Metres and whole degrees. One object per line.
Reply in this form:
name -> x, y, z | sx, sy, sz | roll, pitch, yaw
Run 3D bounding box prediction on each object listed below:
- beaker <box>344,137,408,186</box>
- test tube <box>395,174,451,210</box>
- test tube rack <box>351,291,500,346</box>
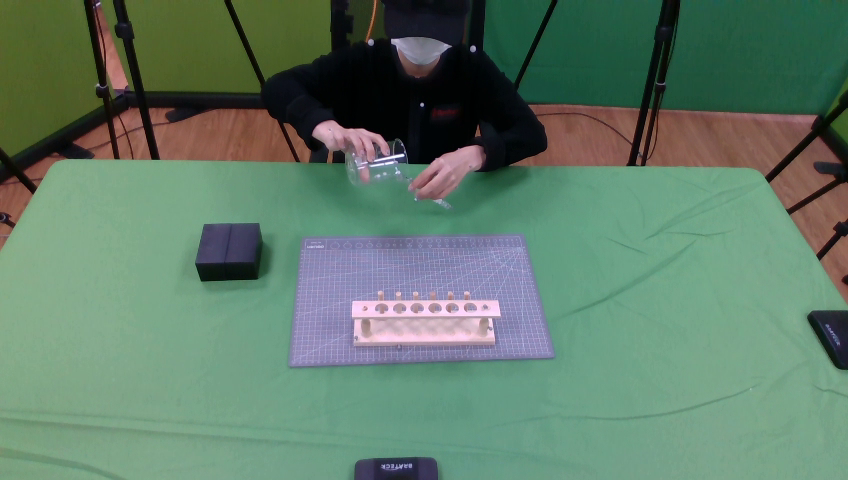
beaker -> -0.090, -0.138, 1.104 | 0.100, 0.084, 0.073 | -13, 37, -20
test tube -> 0.001, -0.093, 1.191 | 0.151, 0.017, 0.017 | 27, 30, -41
test tube rack -> 0.001, 0.129, 1.026 | 0.242, 0.085, 0.066 | 0, 46, -4
